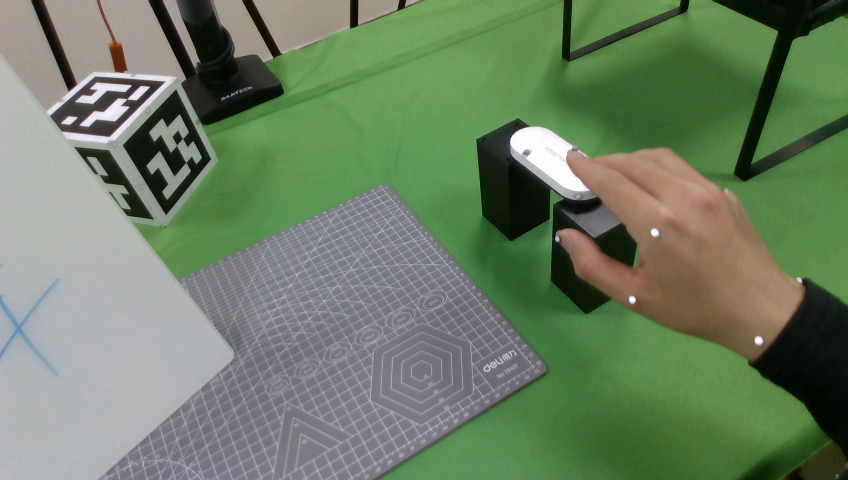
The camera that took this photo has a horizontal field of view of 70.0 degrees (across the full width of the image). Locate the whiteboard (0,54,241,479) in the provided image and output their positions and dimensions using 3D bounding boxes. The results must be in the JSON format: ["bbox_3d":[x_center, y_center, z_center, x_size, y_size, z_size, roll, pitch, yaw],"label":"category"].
[{"bbox_3d":[-0.337,0.043,0.471,0.142,0.308,0.217,14,49,47],"label":"whiteboard"}]

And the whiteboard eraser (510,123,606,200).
[{"bbox_3d":[0.112,-0.070,0.518,0.041,0.019,0.100,-28,50,-18],"label":"whiteboard eraser"}]
